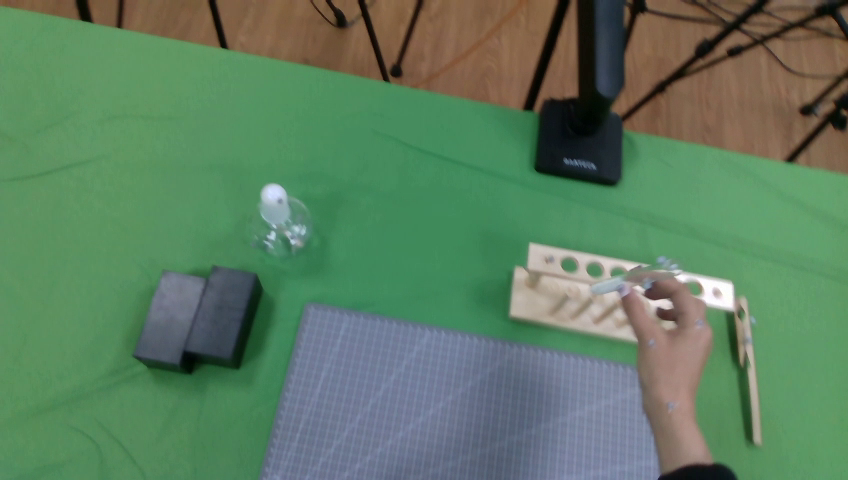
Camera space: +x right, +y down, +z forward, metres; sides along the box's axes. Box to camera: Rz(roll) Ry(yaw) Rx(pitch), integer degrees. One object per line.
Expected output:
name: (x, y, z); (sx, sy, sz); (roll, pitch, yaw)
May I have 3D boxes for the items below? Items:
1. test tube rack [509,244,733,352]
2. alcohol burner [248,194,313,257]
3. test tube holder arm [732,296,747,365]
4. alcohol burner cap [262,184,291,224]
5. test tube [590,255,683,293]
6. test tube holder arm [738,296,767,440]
test tube rack: (0.234, 0.072, 0.732); (0.242, 0.085, 0.066); (11, 65, -2)
alcohol burner: (-0.171, -0.027, 0.714); (0.078, 0.120, 0.077); (2, 64, -4)
test tube holder arm: (0.402, 0.115, 0.770); (0.010, 0.015, 0.087); (-11, 63, 29)
alcohol burner cap: (-0.167, -0.044, 0.682); (0.034, 0.048, 0.033); (6, 60, -10)
test tube: (0.199, 0.036, 0.586); (0.017, 0.150, 0.017); (2, 77, -11)
test tube holder arm: (0.405, 0.155, 0.750); (0.013, 0.015, 0.177); (-12, 63, 29)
